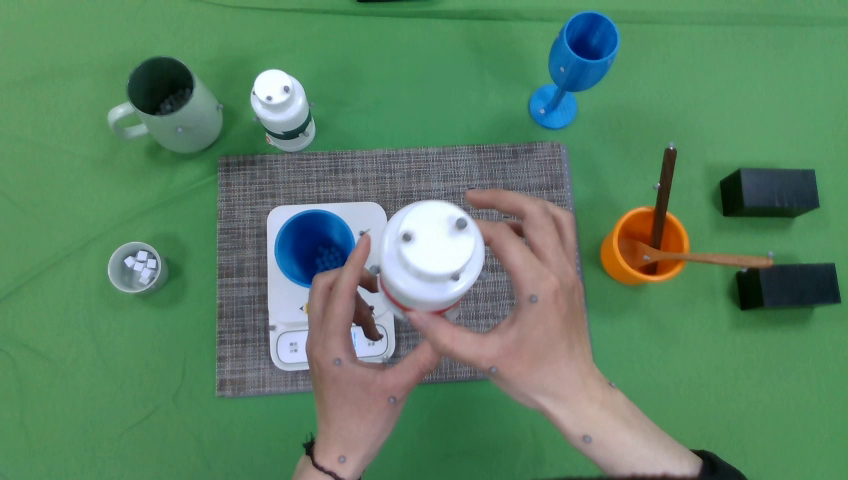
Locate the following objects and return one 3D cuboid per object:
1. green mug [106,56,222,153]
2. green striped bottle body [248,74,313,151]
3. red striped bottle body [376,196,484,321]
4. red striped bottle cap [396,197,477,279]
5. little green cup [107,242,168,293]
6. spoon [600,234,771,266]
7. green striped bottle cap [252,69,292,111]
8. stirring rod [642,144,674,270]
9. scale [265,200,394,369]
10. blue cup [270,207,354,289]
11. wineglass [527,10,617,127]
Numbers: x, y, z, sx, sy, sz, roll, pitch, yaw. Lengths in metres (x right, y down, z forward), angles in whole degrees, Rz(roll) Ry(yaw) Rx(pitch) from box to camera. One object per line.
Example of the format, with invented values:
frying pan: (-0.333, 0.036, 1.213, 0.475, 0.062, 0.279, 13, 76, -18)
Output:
green mug: (-0.320, -0.156, 0.738, 0.125, 0.105, 0.092, -25, 80, -8)
green striped bottle body: (-0.174, -0.158, 0.739, 0.063, 0.119, 0.063, 1, 77, -2)
red striped bottle body: (0.001, 0.013, 0.386, 0.063, 0.120, 0.062, 2, 74, -5)
red striped bottle cap: (0.007, -0.001, 0.334, 0.044, 0.018, 0.044, 2, 72, -6)
little green cup: (-0.341, 0.036, 0.729, 0.061, 0.039, 0.061, 1, 78, -4)
spoon: (0.300, 0.017, 0.713, 0.022, 0.192, 0.041, 16, 82, -44)
green striped bottle cap: (-0.173, -0.171, 0.688, 0.044, 0.020, 0.044, 1, 77, -3)
stirring rod: (0.278, -0.033, 0.723, 0.014, 0.178, 0.006, 2, 37, 10)
scale: (-0.116, 0.051, 0.739, 0.149, 0.031, 0.200, -4, 79, -4)
blue cup: (-0.119, 0.017, 0.679, 0.093, 0.100, 0.092, 1, 79, -5)
wineglass: (0.175, -0.203, 0.740, 0.074, 0.173, 0.073, 1, 77, -2)
